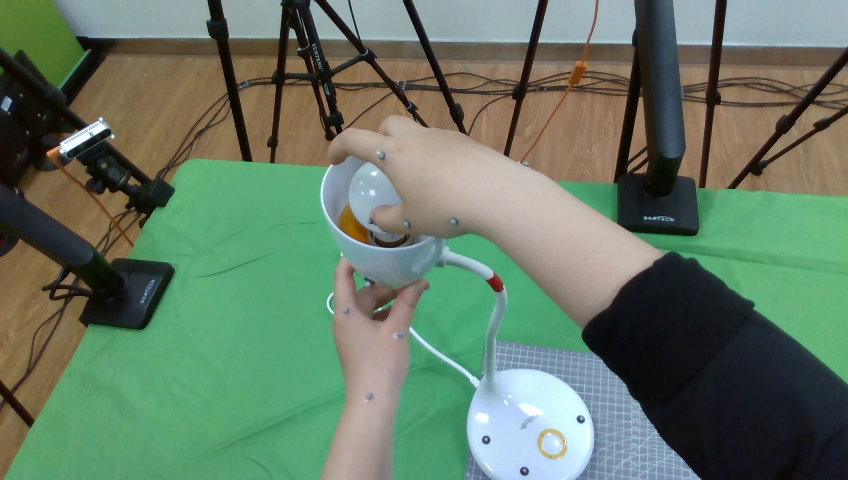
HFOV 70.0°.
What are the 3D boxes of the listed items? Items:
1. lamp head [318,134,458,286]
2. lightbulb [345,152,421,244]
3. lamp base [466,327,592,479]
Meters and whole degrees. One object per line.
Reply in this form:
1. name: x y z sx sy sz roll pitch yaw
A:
1. lamp head: -0.024 -0.012 0.523 0.112 0.124 0.111 -2 57 4
2. lightbulb: -0.032 -0.026 0.494 0.059 0.108 0.059 0 60 0
3. lamp base: 0.114 0.183 0.721 0.177 0.182 0.160 28 62 29
